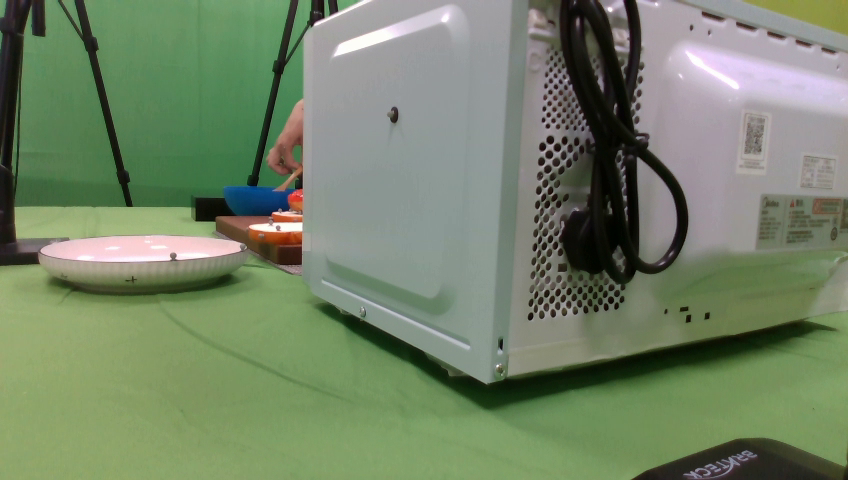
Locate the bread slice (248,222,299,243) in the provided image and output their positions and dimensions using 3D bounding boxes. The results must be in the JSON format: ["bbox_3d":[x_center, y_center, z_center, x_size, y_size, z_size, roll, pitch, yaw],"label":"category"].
[{"bbox_3d":[-0.174,-0.012,0.844,0.135,0.018,0.106,-6,10,-44],"label":"bread slice"}]

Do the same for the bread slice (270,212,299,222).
[{"bbox_3d":[-0.198,-0.038,1.051,0.132,0.019,0.104,0,6,-31],"label":"bread slice"}]

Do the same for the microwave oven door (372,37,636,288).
[{"bbox_3d":[0.109,-0.080,0.686,0.358,0.243,0.039,-2,9,-33],"label":"microwave oven door"}]

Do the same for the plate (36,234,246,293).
[{"bbox_3d":[-0.305,0.026,0.668,0.208,0.039,0.207,3,7,0],"label":"plate"}]

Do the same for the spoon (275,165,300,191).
[{"bbox_3d":[-0.275,-0.125,1.251,0.041,0.194,0.021,34,-22,10],"label":"spoon"}]

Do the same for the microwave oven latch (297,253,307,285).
[{"bbox_3d":[-0.082,0.027,0.582,0.079,0.029,0.030,-1,7,-32],"label":"microwave oven latch"}]

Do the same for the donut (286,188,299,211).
[{"bbox_3d":[-0.190,-0.068,1.055,0.099,0.048,0.099,3,7,0],"label":"donut"}]

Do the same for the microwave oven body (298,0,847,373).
[{"bbox_3d":[0.151,-0.055,0.543,0.444,0.260,0.324,-2,7,-33],"label":"microwave oven body"}]

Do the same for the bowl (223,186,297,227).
[{"bbox_3d":[-0.330,-0.068,1.230,0.151,0.077,0.151,3,7,0],"label":"bowl"}]
